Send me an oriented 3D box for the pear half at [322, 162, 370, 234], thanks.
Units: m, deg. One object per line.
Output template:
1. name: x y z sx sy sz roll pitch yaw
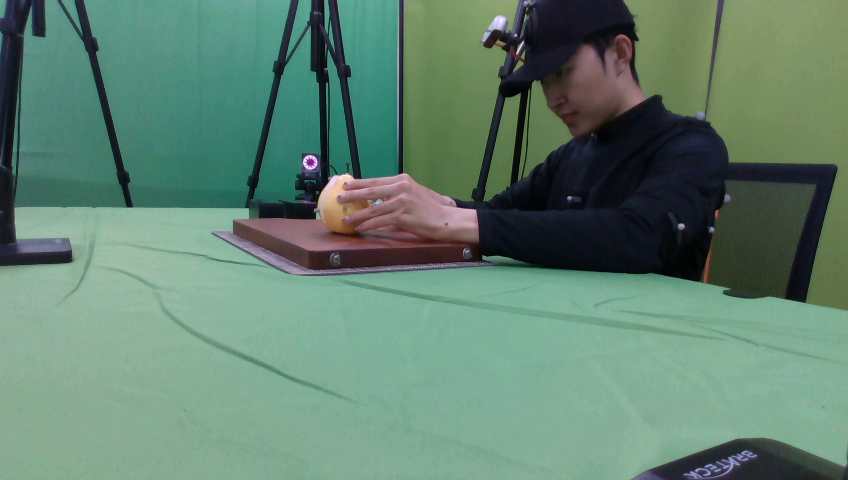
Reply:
1. pear half: -0.111 -0.063 0.914 0.055 0.110 0.077 6 11 33

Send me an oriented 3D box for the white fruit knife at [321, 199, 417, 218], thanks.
1. white fruit knife: -0.085 -0.050 0.985 0.016 0.027 0.208 7 11 41

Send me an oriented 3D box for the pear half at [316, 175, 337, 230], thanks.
1. pear half: -0.143 -0.056 0.939 0.031 0.088 0.071 1 10 37
